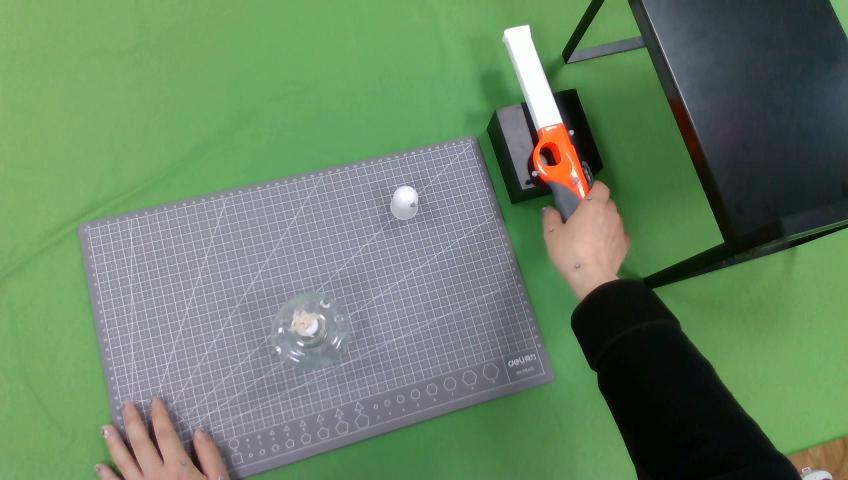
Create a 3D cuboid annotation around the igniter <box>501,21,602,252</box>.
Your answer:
[{"bbox_3d":[0.140,-0.119,0.671,0.057,0.025,0.275,-14,77,-8],"label":"igniter"}]

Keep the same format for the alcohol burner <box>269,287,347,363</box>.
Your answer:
[{"bbox_3d":[-0.115,0.082,0.593,0.078,0.119,0.077,1,78,-5],"label":"alcohol burner"}]

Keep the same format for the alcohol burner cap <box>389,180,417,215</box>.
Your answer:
[{"bbox_3d":[-0.022,-0.050,0.672,0.034,0.048,0.033,1,77,-5],"label":"alcohol burner cap"}]
